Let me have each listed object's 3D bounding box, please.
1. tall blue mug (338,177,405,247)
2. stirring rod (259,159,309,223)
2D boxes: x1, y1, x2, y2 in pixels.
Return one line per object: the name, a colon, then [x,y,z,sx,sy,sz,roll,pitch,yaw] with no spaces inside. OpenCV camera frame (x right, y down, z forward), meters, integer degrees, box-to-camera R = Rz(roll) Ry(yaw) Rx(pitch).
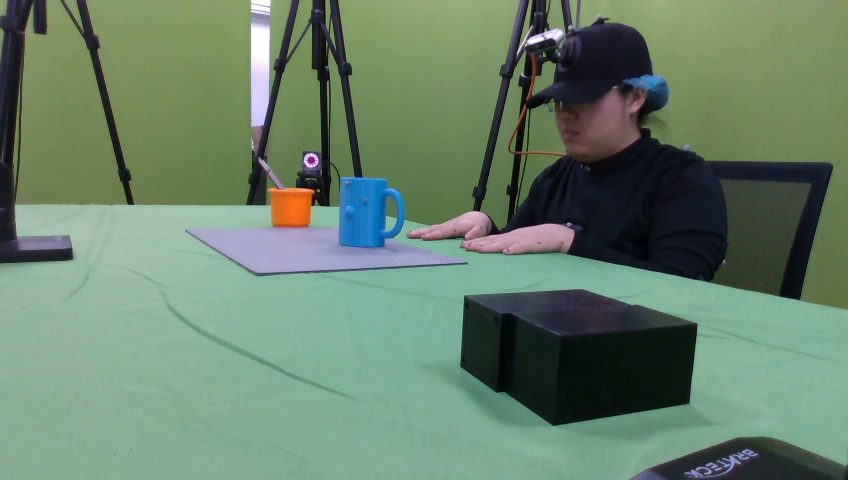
tall blue mug: [-0.083,-0.046,0.977,0.107,0.108,0.078,2,6,-1]
stirring rod: [-0.287,-0.101,1.234,0.175,0.006,0.014,51,33,16]
